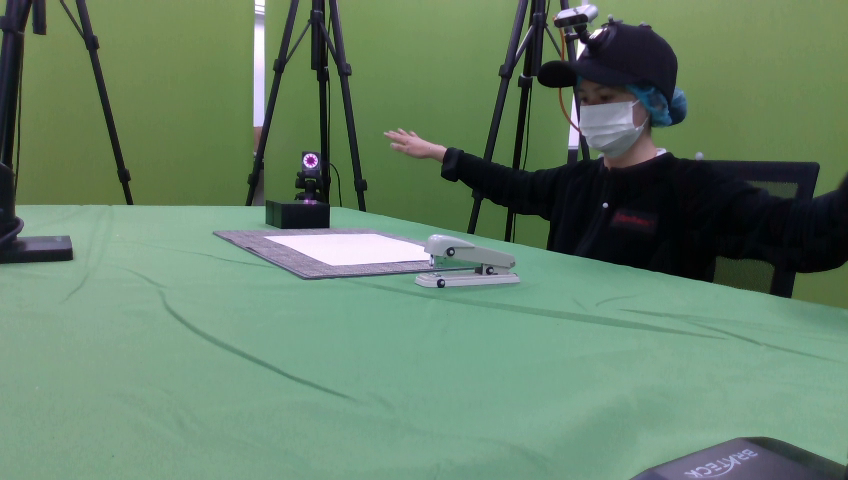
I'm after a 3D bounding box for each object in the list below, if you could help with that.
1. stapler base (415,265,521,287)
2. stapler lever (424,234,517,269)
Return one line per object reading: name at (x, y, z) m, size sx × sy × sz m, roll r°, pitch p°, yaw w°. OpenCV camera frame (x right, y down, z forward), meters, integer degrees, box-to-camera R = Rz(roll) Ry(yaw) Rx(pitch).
stapler base at (0.053, 0.039, 0.716) m, size 0.131 × 0.024 × 0.041 m, roll 1°, pitch 9°, yaw -27°
stapler lever at (0.056, 0.014, 0.714) m, size 0.119 × 0.040 × 0.026 m, roll 1°, pitch 9°, yaw -27°
